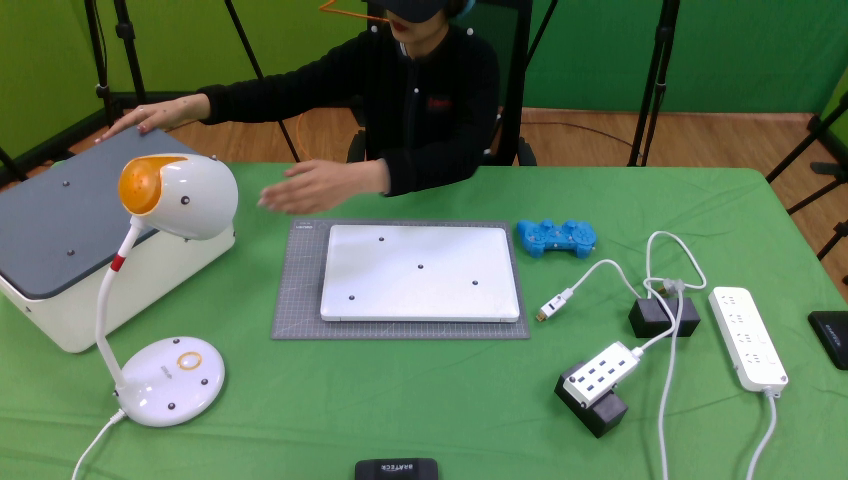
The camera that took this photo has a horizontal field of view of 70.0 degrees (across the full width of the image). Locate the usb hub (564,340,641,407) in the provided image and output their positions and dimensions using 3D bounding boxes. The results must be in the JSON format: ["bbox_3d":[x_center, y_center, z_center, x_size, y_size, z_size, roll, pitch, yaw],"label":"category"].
[{"bbox_3d":[0.278,0.205,0.944,0.125,0.025,0.049,-27,52,-28],"label":"usb hub"}]

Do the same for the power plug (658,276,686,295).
[{"bbox_3d":[0.450,0.087,1.113,0.073,0.052,0.035,-12,71,-55],"label":"power plug"}]

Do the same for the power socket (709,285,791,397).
[{"bbox_3d":[0.568,0.167,1.064,0.072,0.033,0.225,2,46,0],"label":"power socket"}]

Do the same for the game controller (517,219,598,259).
[{"bbox_3d":[0.269,-0.012,1.210,0.155,0.052,0.096,1,50,-2],"label":"game controller"}]

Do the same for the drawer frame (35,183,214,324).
[{"bbox_3d":[-0.531,0.018,1.092,0.201,0.083,0.213,29,52,21],"label":"drawer frame"}]

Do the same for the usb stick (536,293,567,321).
[{"bbox_3d":[0.226,0.122,1.083,0.059,0.027,0.021,-38,76,-8],"label":"usb stick"}]

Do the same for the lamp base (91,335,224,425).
[{"bbox_3d":[-0.401,0.170,0.892,0.160,0.181,0.179,30,53,23],"label":"lamp base"}]

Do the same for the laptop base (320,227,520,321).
[{"bbox_3d":[-0.008,0.061,1.137,0.354,0.023,0.234,1,42,-3],"label":"laptop base"}]

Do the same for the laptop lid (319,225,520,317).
[{"bbox_3d":[-0.008,0.052,1.131,0.357,0.013,0.240,2,43,-2],"label":"laptop lid"}]

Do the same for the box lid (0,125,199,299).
[{"bbox_3d":[-0.540,-0.068,1.016,0.262,0.015,0.371,30,51,23],"label":"box lid"}]

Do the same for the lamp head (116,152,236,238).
[{"bbox_3d":[-0.315,-0.057,0.748,0.112,0.112,0.123,26,10,20],"label":"lamp head"}]

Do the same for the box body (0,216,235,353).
[{"bbox_3d":[-0.550,-0.007,1.068,0.253,0.161,0.363,30,51,23],"label":"box body"}]
